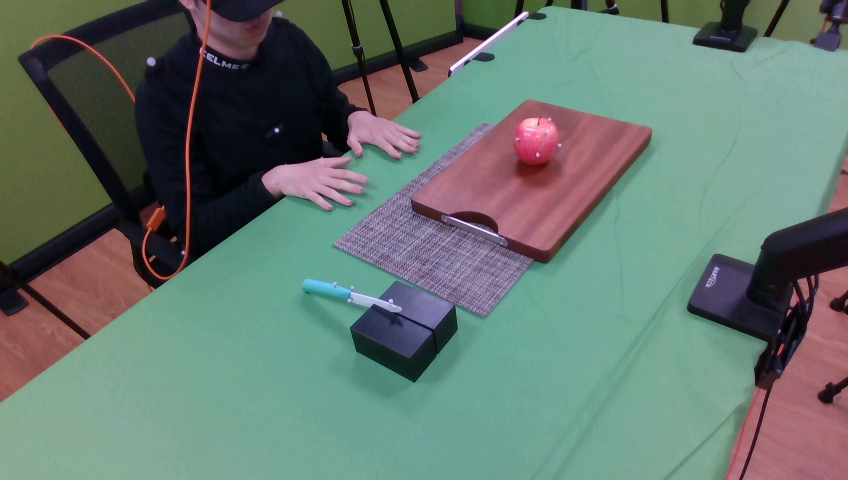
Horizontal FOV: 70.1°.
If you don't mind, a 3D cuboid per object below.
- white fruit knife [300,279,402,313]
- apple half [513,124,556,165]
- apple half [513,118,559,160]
[{"bbox_3d":[-0.107,0.078,0.847,0.205,0.027,0.016,8,42,39],"label":"white fruit knife"},{"bbox_3d":[0.185,-0.157,1.041,0.081,0.081,0.033,14,41,24],"label":"apple half"},{"bbox_3d":[0.203,-0.180,1.067,0.080,0.075,0.053,12,40,27],"label":"apple half"}]
